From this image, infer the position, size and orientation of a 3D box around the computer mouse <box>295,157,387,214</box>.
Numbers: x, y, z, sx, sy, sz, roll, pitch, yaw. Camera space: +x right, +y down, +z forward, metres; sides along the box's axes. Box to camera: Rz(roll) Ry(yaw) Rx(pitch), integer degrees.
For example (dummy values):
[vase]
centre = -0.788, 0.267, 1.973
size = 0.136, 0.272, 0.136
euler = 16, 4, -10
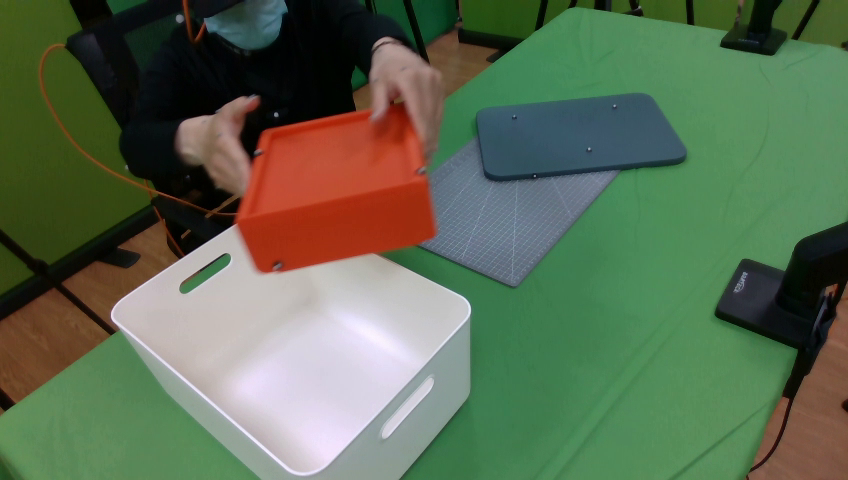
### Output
[computer mouse]
centre = -0.103, -0.068, 0.746
size = 0.117, 0.041, 0.062
euler = -10, 44, 6

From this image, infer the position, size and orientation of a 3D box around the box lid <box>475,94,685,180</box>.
[box lid]
centre = 0.288, -0.207, 1.181
size = 0.371, 0.015, 0.262
euler = -5, 40, 2

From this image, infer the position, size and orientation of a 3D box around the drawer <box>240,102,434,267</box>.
[drawer]
centre = -0.098, -0.071, 0.707
size = 0.194, 0.073, 0.210
euler = -11, 36, 0

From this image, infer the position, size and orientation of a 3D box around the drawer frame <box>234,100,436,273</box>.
[drawer frame]
centre = -0.097, -0.071, 0.702
size = 0.202, 0.083, 0.212
euler = -11, 36, 0

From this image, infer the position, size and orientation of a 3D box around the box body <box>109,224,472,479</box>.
[box body]
centre = -0.147, 0.135, 0.726
size = 0.361, 0.161, 0.255
euler = 25, 50, 32
